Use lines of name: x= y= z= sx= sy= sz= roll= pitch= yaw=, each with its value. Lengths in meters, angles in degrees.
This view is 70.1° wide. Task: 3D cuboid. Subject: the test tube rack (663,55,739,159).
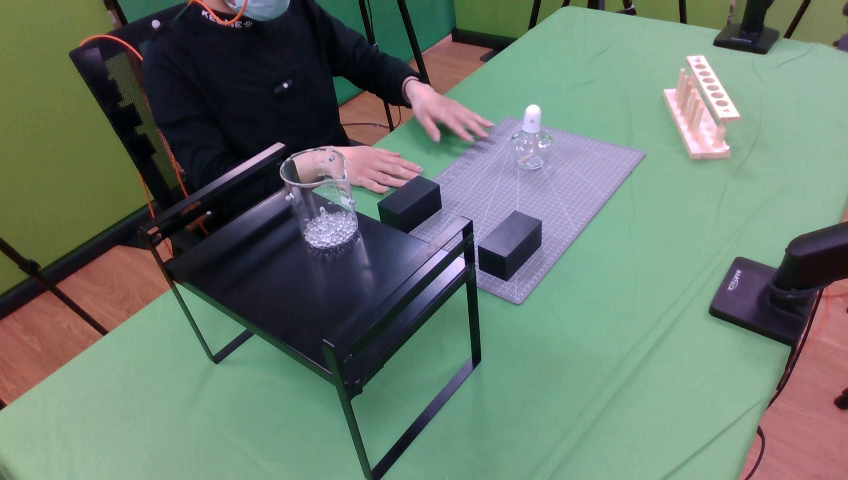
test tube rack: x=0.518 y=-0.256 z=1.144 sx=0.066 sy=0.085 sz=0.241 roll=-1 pitch=41 yaw=8

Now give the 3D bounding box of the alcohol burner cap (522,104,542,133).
alcohol burner cap: x=0.191 y=-0.217 z=1.065 sx=0.034 sy=0.048 sz=0.033 roll=0 pitch=39 yaw=0

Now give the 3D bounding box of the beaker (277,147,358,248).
beaker: x=-0.117 y=-0.046 z=0.705 sx=0.083 sy=0.101 sz=0.074 roll=17 pitch=47 yaw=25

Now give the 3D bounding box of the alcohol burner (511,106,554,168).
alcohol burner: x=0.195 y=-0.190 z=1.088 sx=0.078 sy=0.119 sz=0.077 roll=-3 pitch=42 yaw=3
